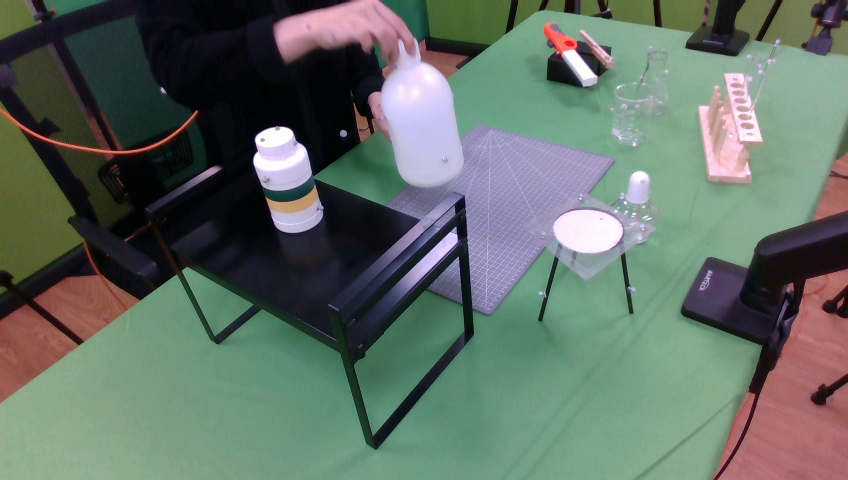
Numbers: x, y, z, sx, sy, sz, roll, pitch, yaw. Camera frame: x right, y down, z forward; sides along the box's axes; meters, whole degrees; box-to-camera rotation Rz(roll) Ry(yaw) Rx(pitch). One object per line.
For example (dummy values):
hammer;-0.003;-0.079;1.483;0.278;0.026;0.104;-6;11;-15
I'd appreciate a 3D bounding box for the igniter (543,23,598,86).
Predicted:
igniter;0.320;-0.419;1.345;0.057;0.025;0.274;-12;44;-3

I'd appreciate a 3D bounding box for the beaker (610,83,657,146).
beaker;0.388;-0.235;1.138;0.074;0.101;0.083;-31;45;-25

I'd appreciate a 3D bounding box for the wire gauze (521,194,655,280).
wire gauze;0.207;-0.012;0.772;0.122;0.011;0.124;-28;44;-20

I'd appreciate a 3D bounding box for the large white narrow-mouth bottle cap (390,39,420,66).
large white narrow-mouth bottle cap;-0.025;-0.243;0.784;0.037;0.024;0.037;-9;38;8

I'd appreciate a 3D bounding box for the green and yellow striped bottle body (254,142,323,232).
green and yellow striped bottle body;-0.165;-0.073;0.732;0.063;0.120;0.063;-4;41;4

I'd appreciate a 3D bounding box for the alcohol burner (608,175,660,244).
alcohol burner;0.322;-0.053;0.924;0.078;0.119;0.077;-4;43;4

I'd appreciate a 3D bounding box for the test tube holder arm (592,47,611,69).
test tube holder arm;0.386;-0.398;1.317;0.010;0.015;0.087;-10;41;-2

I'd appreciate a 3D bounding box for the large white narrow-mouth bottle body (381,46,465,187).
large white narrow-mouth bottle body;-0.006;-0.176;0.836;0.101;0.195;0.101;-10;38;8

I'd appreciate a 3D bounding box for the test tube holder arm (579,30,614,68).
test tube holder arm;0.384;-0.428;1.351;0.013;0.015;0.177;-11;41;-3

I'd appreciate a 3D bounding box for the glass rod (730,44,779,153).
glass rod;0.555;-0.234;1.021;0.008;0.200;0.008;2;40;-1

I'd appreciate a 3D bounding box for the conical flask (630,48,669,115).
conical flask;0.457;-0.317;1.205;0.075;0.122;0.075;-4;41;4

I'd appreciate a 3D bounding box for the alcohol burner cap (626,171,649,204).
alcohol burner cap;0.320;-0.081;0.900;0.034;0.048;0.033;-4;42;4

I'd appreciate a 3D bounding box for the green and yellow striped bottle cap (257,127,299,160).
green and yellow striped bottle cap;-0.169;-0.112;0.698;0.045;0.020;0.045;-5;40;5

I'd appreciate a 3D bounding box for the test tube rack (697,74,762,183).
test tube rack;0.547;-0.208;1.095;0.066;0.085;0.242;5;42;15

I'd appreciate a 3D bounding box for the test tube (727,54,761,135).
test tube;0.564;-0.254;1.069;0.017;0.151;0.017;-1;40;1

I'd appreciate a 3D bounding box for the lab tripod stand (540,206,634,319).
lab tripod stand;0.218;0.034;0.821;0.148;0.132;0.147;-4;42;4
